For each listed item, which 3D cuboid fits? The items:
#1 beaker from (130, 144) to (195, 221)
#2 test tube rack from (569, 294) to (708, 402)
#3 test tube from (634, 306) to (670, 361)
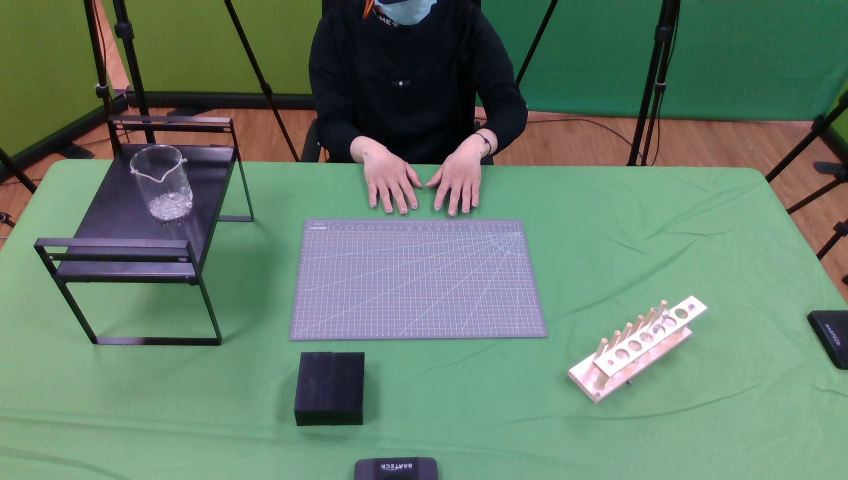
[{"bbox_3d":[-0.403,-0.085,0.944,0.074,0.101,0.083,-15,49,-17],"label":"beaker"},{"bbox_3d":[0.360,0.167,1.015,0.242,0.085,0.066,-25,52,-25],"label":"test tube rack"},{"bbox_3d":[0.358,0.151,0.960,0.017,0.151,0.017,1,51,-1],"label":"test tube"}]
